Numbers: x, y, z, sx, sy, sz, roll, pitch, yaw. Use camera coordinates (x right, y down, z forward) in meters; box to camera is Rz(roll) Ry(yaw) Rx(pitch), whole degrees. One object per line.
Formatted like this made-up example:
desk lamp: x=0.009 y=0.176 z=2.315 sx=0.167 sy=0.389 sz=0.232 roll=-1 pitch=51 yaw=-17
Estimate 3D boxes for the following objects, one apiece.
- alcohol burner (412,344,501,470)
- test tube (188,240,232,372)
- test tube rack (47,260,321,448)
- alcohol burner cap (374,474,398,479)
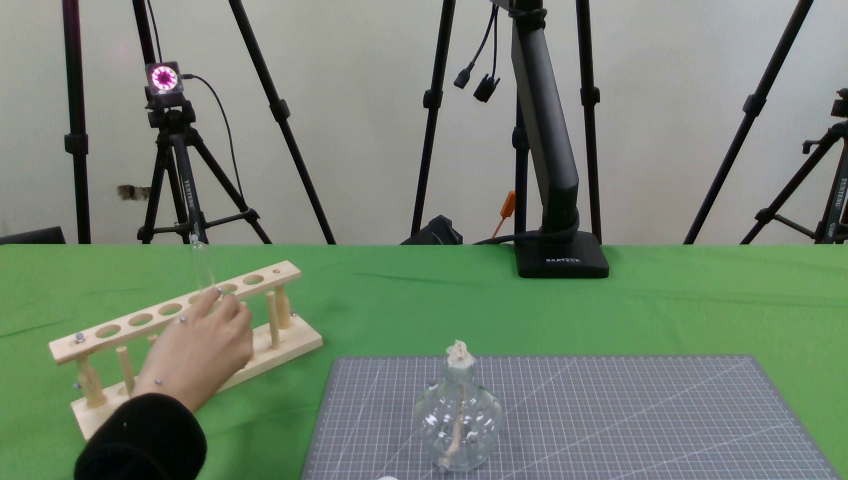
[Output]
alcohol burner: x=0.028 y=0.135 z=0.513 sx=0.078 sy=0.120 sz=0.077 roll=0 pitch=29 yaw=0
test tube: x=-0.209 y=0.068 z=0.596 sx=0.017 sy=0.151 sz=0.017 roll=-1 pitch=28 yaw=1
test tube rack: x=-0.232 y=0.107 z=0.621 sx=0.243 sy=0.086 sz=0.066 roll=-21 pitch=33 yaw=-33
alcohol burner cap: x=-0.028 y=0.201 z=0.464 sx=0.034 sy=0.048 sz=0.033 roll=0 pitch=28 yaw=0
